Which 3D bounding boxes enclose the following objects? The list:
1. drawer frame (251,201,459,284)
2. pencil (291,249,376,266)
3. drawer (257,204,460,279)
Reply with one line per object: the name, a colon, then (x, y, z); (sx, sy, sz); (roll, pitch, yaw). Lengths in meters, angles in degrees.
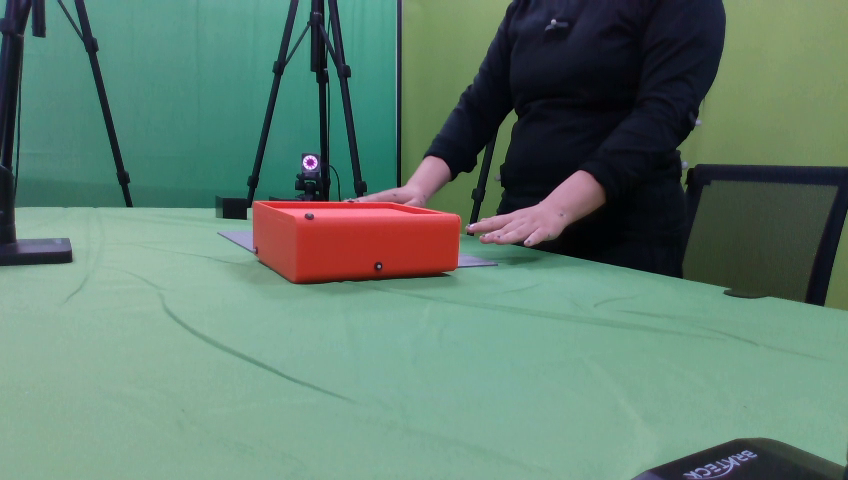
drawer frame: (-0.094, -0.005, 0.788); (0.215, 0.082, 0.200); (-3, 10, -30)
pencil: (-0.112, 0.021, 0.793); (0.012, 0.012, 0.195); (6, 6, 25)
drawer: (-0.091, -0.004, 0.793); (0.213, 0.073, 0.193); (-3, 10, -29)
